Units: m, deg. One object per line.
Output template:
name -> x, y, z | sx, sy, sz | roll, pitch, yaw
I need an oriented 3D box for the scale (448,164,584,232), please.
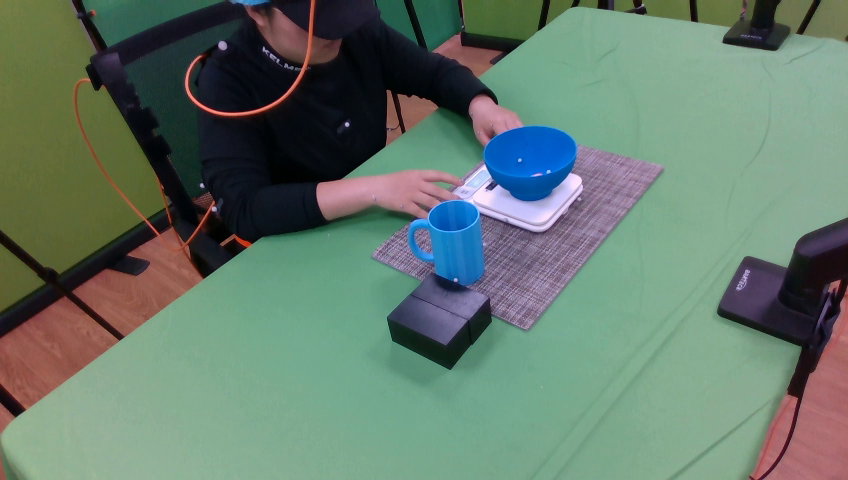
scale -> 0.156, -0.085, 1.040 | 0.199, 0.032, 0.149 | 22, 49, 32

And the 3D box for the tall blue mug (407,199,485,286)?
tall blue mug -> 0.034, 0.008, 0.892 | 0.107, 0.108, 0.077 | -13, 41, -5

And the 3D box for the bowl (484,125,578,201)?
bowl -> 0.175, -0.117, 0.991 | 0.151, 0.077, 0.150 | -6, 40, 5
